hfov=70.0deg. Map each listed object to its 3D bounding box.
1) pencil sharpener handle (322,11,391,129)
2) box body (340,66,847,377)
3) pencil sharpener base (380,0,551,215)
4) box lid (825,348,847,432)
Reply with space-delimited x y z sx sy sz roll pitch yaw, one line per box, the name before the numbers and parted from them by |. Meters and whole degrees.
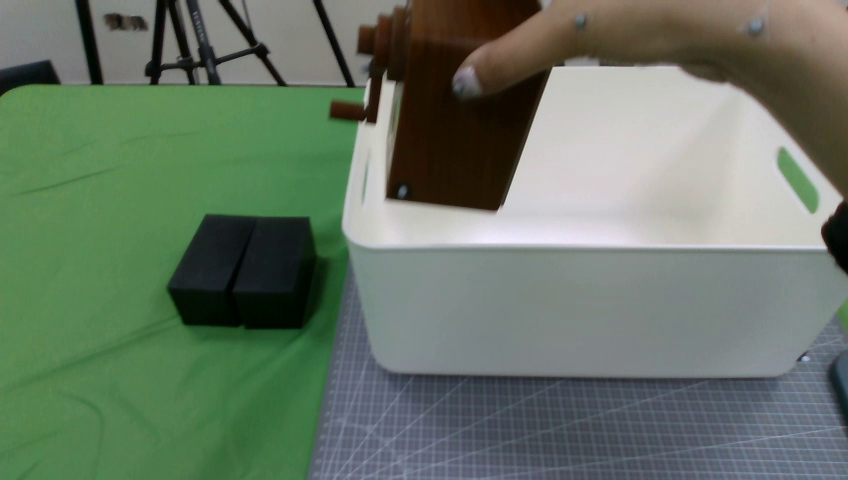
pencil sharpener handle | -0.036 -0.085 0.311 0.031 0.068 0.035 5 49 -8
box body | 0.129 -0.021 0.528 0.364 0.162 0.251 0 42 1
pencil sharpener base | 0.013 -0.072 0.327 0.077 0.108 0.060 5 46 -8
box lid | 0.492 0.195 0.402 0.371 0.015 0.261 6 43 6
